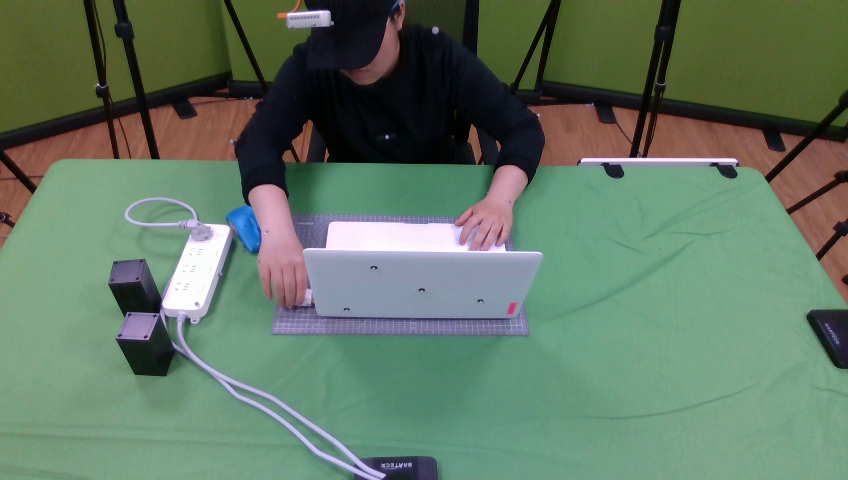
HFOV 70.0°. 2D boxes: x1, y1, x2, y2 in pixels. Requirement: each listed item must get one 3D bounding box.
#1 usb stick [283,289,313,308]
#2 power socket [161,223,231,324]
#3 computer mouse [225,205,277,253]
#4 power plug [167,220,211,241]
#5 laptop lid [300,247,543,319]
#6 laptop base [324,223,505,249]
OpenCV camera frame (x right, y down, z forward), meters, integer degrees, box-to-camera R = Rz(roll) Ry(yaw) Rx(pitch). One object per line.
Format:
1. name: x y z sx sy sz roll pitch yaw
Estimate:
1. usb stick: -0.217 0.103 1.067 0.059 0.027 0.021 7 41 -4
2. power socket: -0.412 0.051 1.106 0.072 0.033 0.225 4 46 -2
3. computer mouse: -0.340 -0.026 1.186 0.063 0.041 0.116 -25 57 -29
4. power plug: -0.439 -0.017 1.143 0.072 0.053 0.035 10 43 5
5. laptop lid: -0.006 0.075 0.963 0.357 0.242 0.013 2 58 -4
6. laptop base: -0.016 0.054 1.146 0.354 0.023 0.234 1 43 -3
